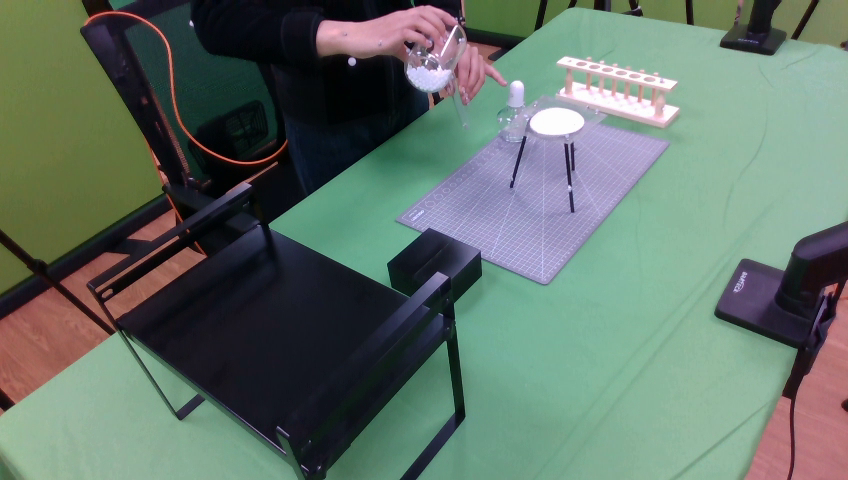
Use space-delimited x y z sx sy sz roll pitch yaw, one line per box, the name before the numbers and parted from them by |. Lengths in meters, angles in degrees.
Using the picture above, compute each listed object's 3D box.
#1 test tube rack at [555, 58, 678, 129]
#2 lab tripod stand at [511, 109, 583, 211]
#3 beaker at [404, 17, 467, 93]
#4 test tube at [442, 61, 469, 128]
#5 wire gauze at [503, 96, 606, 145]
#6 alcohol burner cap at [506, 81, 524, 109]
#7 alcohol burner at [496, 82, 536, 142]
test tube rack | 0.390 -0.307 1.229 0.240 0.085 0.067 26 50 33
lab tripod stand | 0.220 -0.138 1.014 0.148 0.132 0.147 -3 41 3
beaker | 0.017 -0.275 0.914 0.073 0.084 0.100 9 50 17
test tube | 0.055 -0.244 1.032 0.017 0.151 0.017 -8 57 13
wire gauze | 0.211 -0.192 0.975 0.120 0.011 0.125 24 49 32
alcohol burner cap | 0.173 -0.277 1.145 0.034 0.048 0.033 1 41 -1
alcohol burner | 0.178 -0.250 1.168 0.078 0.119 0.077 -5 42 5
